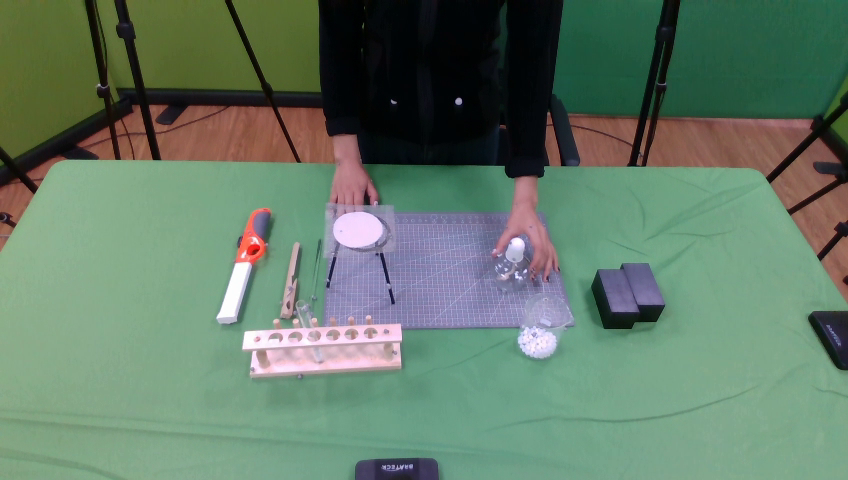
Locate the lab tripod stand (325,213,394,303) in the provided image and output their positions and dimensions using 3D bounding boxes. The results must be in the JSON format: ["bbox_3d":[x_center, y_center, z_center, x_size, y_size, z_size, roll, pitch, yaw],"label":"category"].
[{"bbox_3d":[-0.104,0.031,1.080,0.148,0.132,0.147,4,45,-4],"label":"lab tripod stand"}]

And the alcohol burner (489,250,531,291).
[{"bbox_3d":[0.160,0.038,1.109,0.078,0.119,0.077,3,47,-3],"label":"alcohol burner"}]

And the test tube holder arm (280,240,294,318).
[{"bbox_3d":[-0.251,0.067,1.112,0.013,0.015,0.177,28,38,-33],"label":"test tube holder arm"}]

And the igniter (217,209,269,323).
[{"bbox_3d":[-0.335,0.039,1.132,0.057,0.025,0.275,-4,46,6],"label":"igniter"}]

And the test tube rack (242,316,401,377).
[{"bbox_3d":[-0.160,0.166,0.983,0.242,0.085,0.066,-2,46,-6],"label":"test tube rack"}]

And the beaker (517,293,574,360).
[{"bbox_3d":[0.200,0.149,1.018,0.084,0.101,0.073,14,47,8],"label":"beaker"}]

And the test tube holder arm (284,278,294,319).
[{"bbox_3d":[-0.243,0.103,1.085,0.010,0.015,0.087,29,37,-32],"label":"test tube holder arm"}]

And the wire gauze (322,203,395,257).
[{"bbox_3d":[-0.111,-0.020,1.035,0.121,0.011,0.124,0,47,-7],"label":"wire gauze"}]

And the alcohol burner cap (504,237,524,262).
[{"bbox_3d":[0.162,0.014,1.081,0.034,0.048,0.033,1,55,-1],"label":"alcohol burner cap"}]

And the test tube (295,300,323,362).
[{"bbox_3d":[-0.176,0.143,0.935,0.017,0.151,0.017,-2,46,2],"label":"test tube"}]

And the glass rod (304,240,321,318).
[{"bbox_3d":[-0.207,0.069,1.128,0.008,0.008,0.198,2,43,-2],"label":"glass rod"}]
